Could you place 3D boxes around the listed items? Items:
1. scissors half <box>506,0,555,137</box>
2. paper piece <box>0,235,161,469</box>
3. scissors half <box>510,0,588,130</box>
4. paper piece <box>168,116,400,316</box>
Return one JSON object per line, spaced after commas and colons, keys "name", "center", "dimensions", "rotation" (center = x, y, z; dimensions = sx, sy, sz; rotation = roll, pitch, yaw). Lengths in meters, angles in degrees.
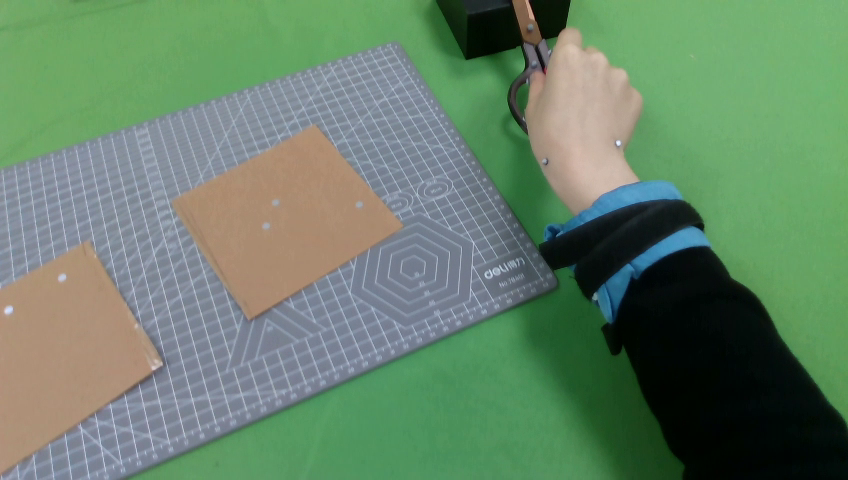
{"name": "scissors half", "center": [0.082, -0.173, 0.520], "dimensions": [0.040, 0.013, 0.174], "rotation": [-4, 81, -20]}
{"name": "paper piece", "center": [-0.269, 0.074, 0.414], "dimensions": [0.138, 0.009, 0.134], "rotation": [-35, 59, -17]}
{"name": "scissors half", "center": [0.101, -0.178, 0.527], "dimensions": [0.040, 0.013, 0.175], "rotation": [-23, 87, -17]}
{"name": "paper piece", "center": [-0.111, -0.026, 0.472], "dimensions": [0.136, 0.004, 0.134], "rotation": [-32, 64, -17]}
